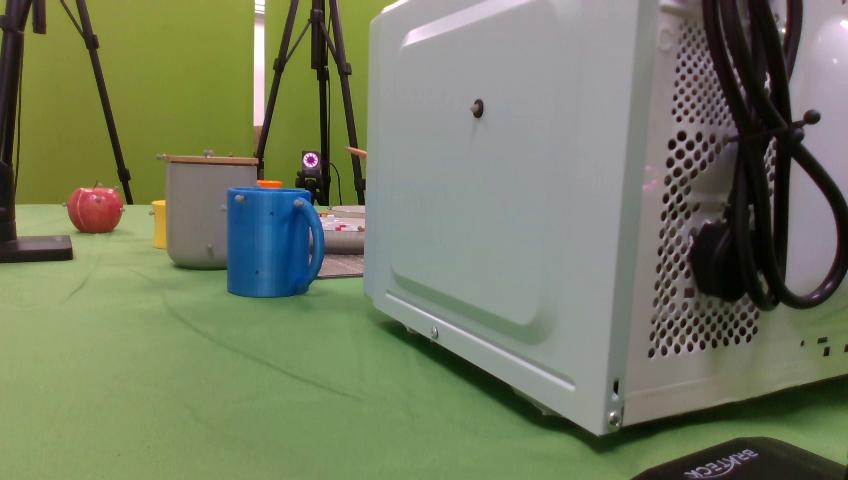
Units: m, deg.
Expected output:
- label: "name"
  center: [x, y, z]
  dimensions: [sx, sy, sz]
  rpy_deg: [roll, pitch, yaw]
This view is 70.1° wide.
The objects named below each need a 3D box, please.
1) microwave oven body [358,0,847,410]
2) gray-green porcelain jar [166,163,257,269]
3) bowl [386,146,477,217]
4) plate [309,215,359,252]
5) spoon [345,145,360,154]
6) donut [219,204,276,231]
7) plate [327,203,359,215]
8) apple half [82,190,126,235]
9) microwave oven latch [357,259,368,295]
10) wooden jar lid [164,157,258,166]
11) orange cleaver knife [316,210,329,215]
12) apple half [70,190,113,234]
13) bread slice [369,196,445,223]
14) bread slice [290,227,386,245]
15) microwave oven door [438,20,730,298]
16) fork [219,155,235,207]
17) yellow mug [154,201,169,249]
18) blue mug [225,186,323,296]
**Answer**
- label: "microwave oven body"
  center: [0.210, -0.051, 0.471]
  dimensions: [0.444, 0.260, 0.324]
  rpy_deg: [-1, 7, -28]
- label: "gray-green porcelain jar"
  center: [-0.263, -0.031, 0.754]
  dimensions: [0.106, 0.126, 0.106]
  rpy_deg: [2, 7, 0]
- label: "bowl"
  center: [0.023, -0.085, 0.957]
  dimensions: [0.151, 0.077, 0.151]
  rpy_deg: [-20, 0, 0]
- label: "plate"
  center: [-0.130, -0.011, 0.945]
  dimensions: [0.208, 0.039, 0.207]
  rpy_deg: [2, 8, 0]
- label: "spoon"
  center: [-0.040, -0.121, 0.977]
  dimensions: [0.193, 0.021, 0.042]
  rpy_deg: [24, 16, 11]
- label: "donut"
  center: [-0.316, -0.039, 1.083]
  dimensions: [0.099, 0.048, 0.099]
  rpy_deg: [2, 7, 0]
- label: "plate"
  center: [-0.102, -0.053, 1.299]
  dimensions: [0.209, 0.038, 0.209]
  rpy_deg: [2, 8, 0]
- label: "apple half"
  center: [-0.516, -0.046, 0.994]
  dimensions: [0.032, 0.081, 0.081]
  rpy_deg: [0, 6, 26]
- label: "microwave oven latch"
  center: [-0.019, 0.031, 0.529]
  dimensions: [0.079, 0.029, 0.030]
  rpy_deg: [-1, 7, -26]
- label: "wooden jar lid"
  center: [-0.261, -0.093, 0.746]
  dimensions: [0.108, 0.020, 0.108]
  rpy_deg: [0, 9, 0]
- label: "orange cleaver knife"
  center: [-0.259, -0.064, 1.423]
  dimensions: [0.212, 0.012, 0.077]
  rpy_deg: [-4, 3, -30]
- label: "apple half"
  center: [-0.552, -0.048, 1.010]
  dimensions: [0.053, 0.074, 0.081]
  rpy_deg: [-1, 9, 26]
- label: "bread slice"
  center: [-0.040, -0.057, 1.142]
  dimensions: [0.107, 0.018, 0.133]
  rpy_deg: [-8, -8, -40]
- label: "bread slice"
  center: [-0.124, -0.008, 0.938]
  dimensions: [0.131, 0.019, 0.105]
  rpy_deg: [3, 7, 32]
- label: "microwave oven door"
  center: [0.181, -0.076, 0.618]
  dimensions: [0.358, 0.243, 0.039]
  rpy_deg: [-2, 8, -28]
- label: "fork"
  center: [-0.459, -0.134, 1.415]
  dimensions: [0.028, 0.018, 0.207]
  rpy_deg: [-1, -34, -25]
- label: "yellow mug"
  center: [-0.337, -0.022, 0.899]
  dimensions: [0.130, 0.064, 0.100]
  rpy_deg: [7, 9, 34]
- label: "blue mug"
  center: [-0.148, 0.000, 0.618]
  dimensions: [0.116, 0.106, 0.083]
  rpy_deg: [7, 9, 33]
